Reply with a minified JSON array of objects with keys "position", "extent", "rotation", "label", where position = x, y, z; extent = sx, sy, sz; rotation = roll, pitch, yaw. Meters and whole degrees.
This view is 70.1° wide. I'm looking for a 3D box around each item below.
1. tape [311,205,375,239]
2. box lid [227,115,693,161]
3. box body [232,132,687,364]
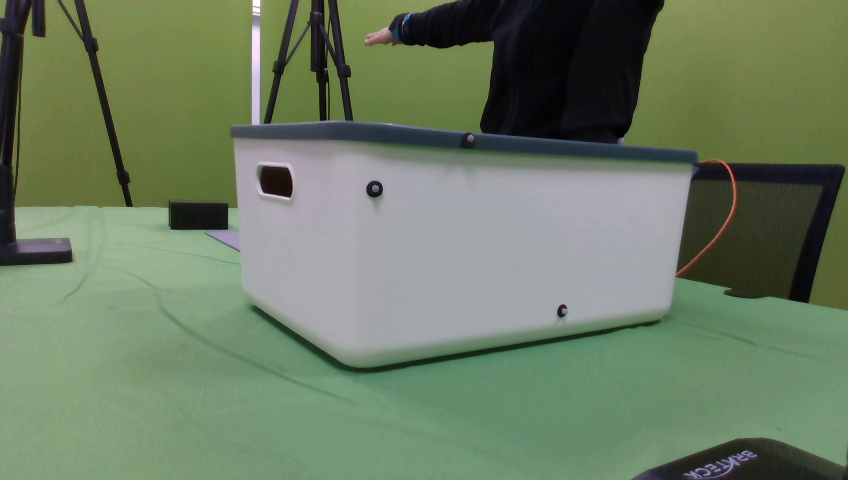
[{"position":[-0.146,-0.034,1.097],"extent":[0.117,0.052,0.117],"rotation":[3,8,0],"label":"tape"},{"position":[0.031,-0.086,0.553],"extent":[0.373,0.015,0.262],"rotation":[-2,8,-33],"label":"box lid"},{"position":[0.031,-0.013,0.563],"extent":[0.366,0.160,0.253],"rotation":[-3,8,-33],"label":"box body"}]
